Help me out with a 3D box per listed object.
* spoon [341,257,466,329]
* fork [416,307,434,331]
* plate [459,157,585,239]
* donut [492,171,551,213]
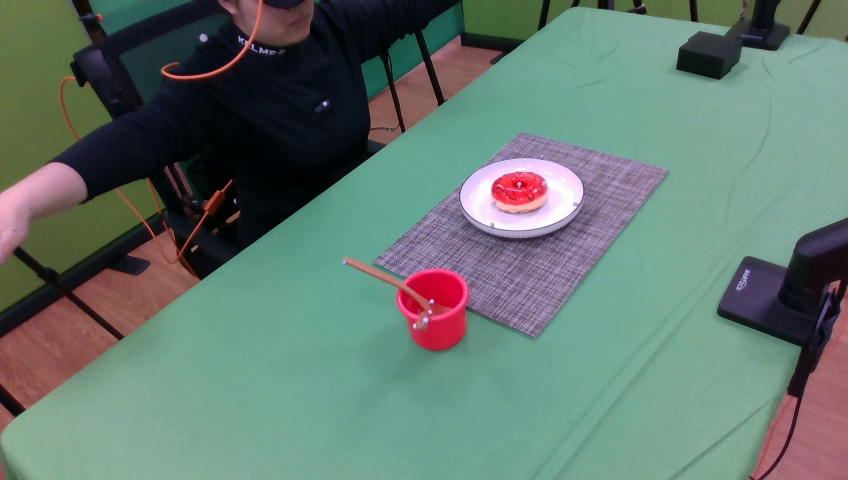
[{"bbox_3d":[-0.025,0.069,0.811,0.195,0.021,0.041,34,31,-18],"label":"spoon"},{"bbox_3d":[0.001,0.098,0.761,0.028,0.207,0.018,26,87,3],"label":"fork"},{"bbox_3d":[0.163,-0.068,1.015,0.209,0.038,0.208,-5,40,5],"label":"plate"},{"bbox_3d":[0.163,-0.083,1.015,0.099,0.048,0.098,-6,37,5],"label":"donut"}]
